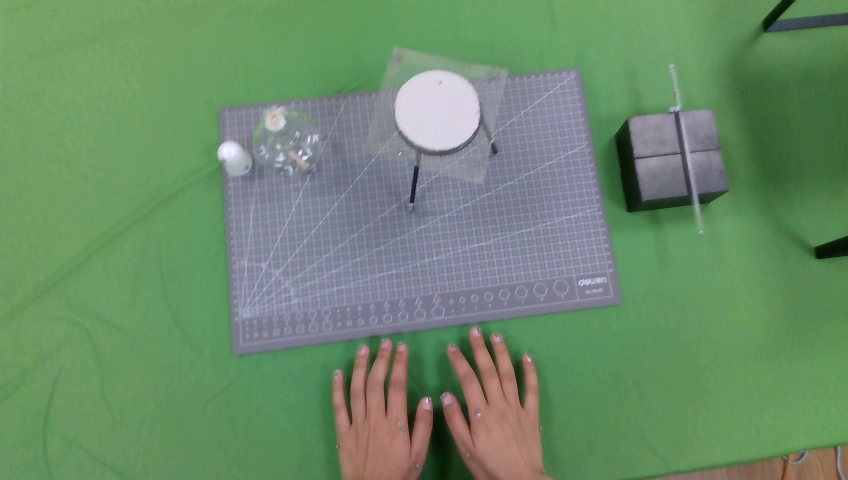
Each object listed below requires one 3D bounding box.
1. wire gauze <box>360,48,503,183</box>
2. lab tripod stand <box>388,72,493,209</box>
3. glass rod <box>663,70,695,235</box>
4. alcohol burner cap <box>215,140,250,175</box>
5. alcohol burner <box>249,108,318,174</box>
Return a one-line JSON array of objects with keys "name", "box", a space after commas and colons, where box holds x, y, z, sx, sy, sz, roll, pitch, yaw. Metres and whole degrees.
[{"name": "wire gauze", "box": [0.009, -0.129, 0.607, 0.125, 0.011, 0.121, 14, 78, 2]}, {"name": "lab tripod stand", "box": [0.012, -0.117, 0.673, 0.148, 0.132, 0.147, 0, 76, -1]}, {"name": "glass rod", "box": [0.291, -0.102, 0.693, 0.008, 0.008, 0.199, -4, 79, -1]}, {"name": "alcohol burner cap", "box": [-0.227, -0.099, 0.711, 0.034, 0.048, 0.033, 0, 78, 3]}, {"name": "alcohol burner", "box": [-0.161, -0.117, 0.680, 0.078, 0.119, 0.077, 1, 77, -2]}]
